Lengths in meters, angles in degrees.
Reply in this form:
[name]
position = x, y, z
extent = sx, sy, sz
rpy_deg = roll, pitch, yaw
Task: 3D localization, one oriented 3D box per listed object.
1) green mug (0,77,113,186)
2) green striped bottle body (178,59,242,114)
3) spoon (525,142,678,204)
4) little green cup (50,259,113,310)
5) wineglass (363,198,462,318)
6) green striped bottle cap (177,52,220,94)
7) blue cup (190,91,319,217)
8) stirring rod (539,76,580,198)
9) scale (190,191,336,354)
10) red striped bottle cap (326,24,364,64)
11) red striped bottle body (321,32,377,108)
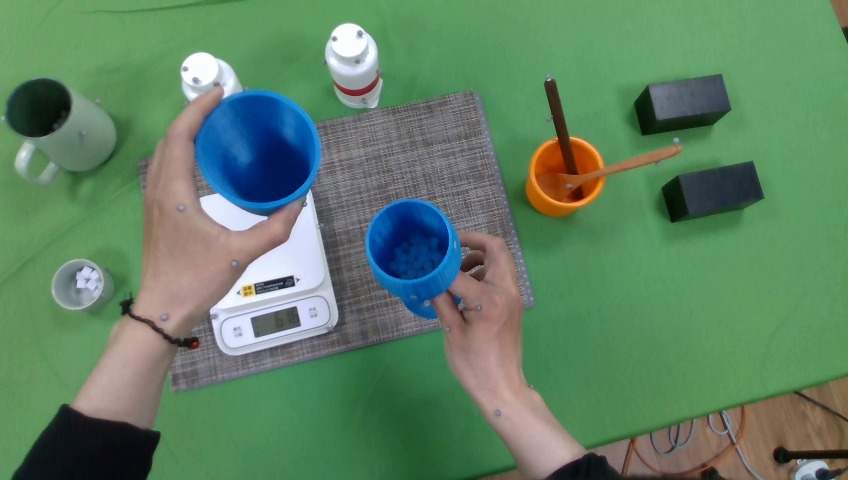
[green mug]
position = -0.453, -0.124, 0.739
extent = 0.092, 0.105, 0.125
rpy_deg = 22, 79, 3
[green striped bottle body]
position = -0.259, -0.179, 0.747
extent = 0.063, 0.119, 0.063
rpy_deg = 0, 78, -1
[spoon]
position = 0.207, -0.082, 0.726
extent = 0.022, 0.193, 0.041
rpy_deg = -11, 86, -47
[little green cup]
position = -0.414, 0.056, 0.737
extent = 0.061, 0.039, 0.061
rpy_deg = 1, 78, -2
[wineglass]
position = -0.003, 0.022, 0.506
extent = 0.073, 0.173, 0.073
rpy_deg = -1, 75, 6
[green striped bottle cap]
position = -0.258, -0.191, 0.693
extent = 0.044, 0.020, 0.044
rpy_deg = 0, 79, 0
[blue cup]
position = -0.125, -0.057, 0.474
extent = 0.093, 0.100, 0.092
rpy_deg = 1, 82, -10
[stirring rod]
position = 0.166, -0.118, 0.731
extent = 0.014, 0.178, 0.006
rpy_deg = -3, 43, 27
[scale]
position = -0.200, 0.029, 0.749
extent = 0.149, 0.031, 0.200
rpy_deg = -14, 80, -4
[red striped bottle cap]
position = -0.092, -0.229, 0.707
extent = 0.044, 0.018, 0.044
rpy_deg = 0, 75, 0
[red striped bottle body]
position = -0.093, -0.219, 0.760
extent = 0.063, 0.120, 0.063
rpy_deg = 0, 78, -1
